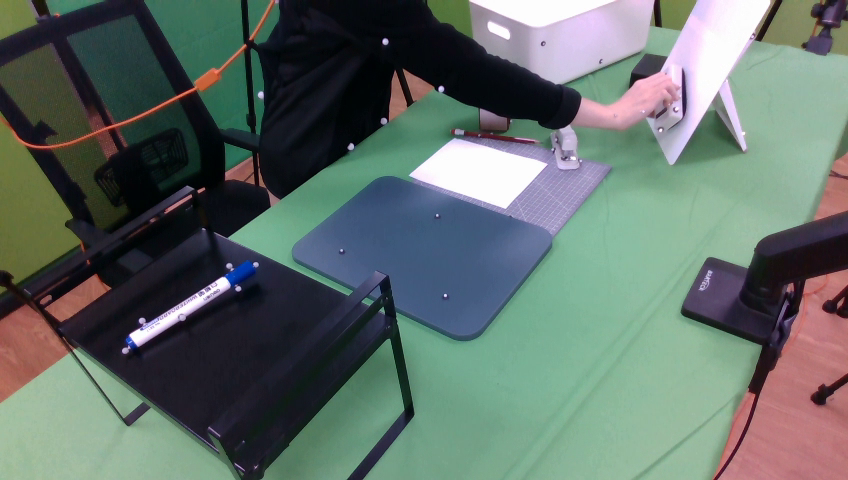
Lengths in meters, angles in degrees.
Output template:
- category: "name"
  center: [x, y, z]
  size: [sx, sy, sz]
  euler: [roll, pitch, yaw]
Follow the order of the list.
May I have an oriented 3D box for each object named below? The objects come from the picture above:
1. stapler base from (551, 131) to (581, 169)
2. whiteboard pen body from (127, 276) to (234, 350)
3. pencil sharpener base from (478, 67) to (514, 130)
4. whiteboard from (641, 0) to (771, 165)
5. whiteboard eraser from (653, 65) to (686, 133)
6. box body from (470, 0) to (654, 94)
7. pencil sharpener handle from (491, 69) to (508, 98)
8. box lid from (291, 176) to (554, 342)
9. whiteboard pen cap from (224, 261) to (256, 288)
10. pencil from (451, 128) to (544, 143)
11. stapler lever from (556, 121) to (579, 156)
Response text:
- category: "stapler base"
  center: [0.269, -0.178, 1.142]
  size: [0.041, 0.024, 0.130]
  euler: [0, 37, 3]
- category: "whiteboard pen body"
  center: [-0.250, 0.071, 0.649]
  size: [0.141, 0.017, 0.017]
  euler: [-36, 48, -26]
- category: "pencil sharpener base"
  center: [0.148, -0.287, 1.225]
  size: [0.061, 0.107, 0.076]
  euler: [5, 42, 15]
- category: "whiteboard"
  center: [0.544, -0.299, 1.076]
  size: [0.144, 0.305, 0.216]
  euler: [12, 40, -6]
- category: "whiteboard eraser"
  center: [0.443, -0.254, 1.092]
  size: [0.042, 0.055, 0.112]
  euler: [14, 68, -16]
- category: "box body"
  center: [0.319, -0.498, 1.405]
  size: [0.365, 0.161, 0.252]
  euler: [-26, 43, -21]
- category: "pencil sharpener handle"
  center: [0.155, -0.330, 1.254]
  size: [0.036, 0.068, 0.030]
  euler: [17, 44, 4]
- category: "box lid"
  center: [-0.005, 0.011, 0.972]
  size: [0.368, 0.015, 0.264]
  euler: [22, 49, 30]
- category: "whiteboard pen cap"
  center: [-0.207, 0.039, 0.677]
  size: [0.033, 0.018, 0.018]
  euler: [-35, 47, -18]
- category: "pencil"
  center: [0.145, -0.206, 1.204]
  size: [0.193, 0.012, 0.012]
  euler: [12, 44, 21]
- category: "stapler lever"
  center: [0.266, -0.198, 1.128]
  size: [0.027, 0.040, 0.117]
  euler: [0, 38, 3]
